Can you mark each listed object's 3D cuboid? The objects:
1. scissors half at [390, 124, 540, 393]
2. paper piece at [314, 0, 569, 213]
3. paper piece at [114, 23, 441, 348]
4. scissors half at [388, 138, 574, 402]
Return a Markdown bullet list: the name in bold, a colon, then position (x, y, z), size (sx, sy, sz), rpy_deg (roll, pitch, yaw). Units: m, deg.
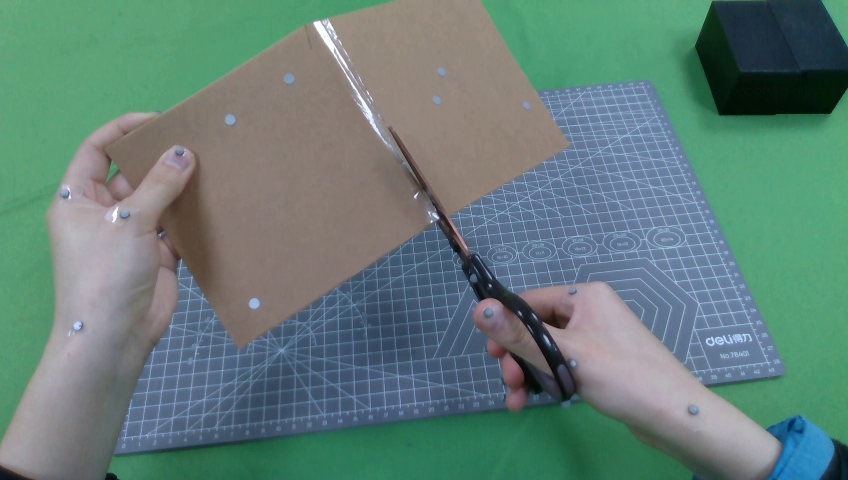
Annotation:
- **scissors half**: position (0.024, 0.012, 0.347), size (0.013, 0.040, 0.176), rpy_deg (-30, 101, -8)
- **paper piece**: position (0.020, -0.096, 0.379), size (0.136, 0.004, 0.135), rpy_deg (-31, 88, -36)
- **paper piece**: position (-0.084, -0.032, 0.340), size (0.138, 0.008, 0.135), rpy_deg (-32, 84, 2)
- **scissors half**: position (0.026, 0.008, 0.324), size (0.013, 0.040, 0.173), rpy_deg (-29, 68, -12)
